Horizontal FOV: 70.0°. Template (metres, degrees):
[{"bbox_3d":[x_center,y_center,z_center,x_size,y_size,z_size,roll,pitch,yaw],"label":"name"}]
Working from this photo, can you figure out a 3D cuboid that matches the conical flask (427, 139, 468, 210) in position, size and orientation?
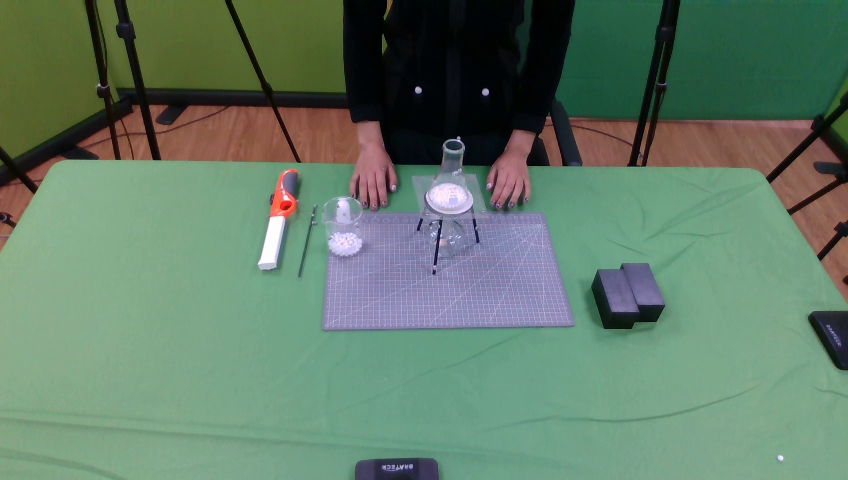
[{"bbox_3d":[0.046,-0.117,1.061,0.075,0.122,0.075,3,46,-2],"label":"conical flask"}]

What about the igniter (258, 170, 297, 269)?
[{"bbox_3d":[-0.294,-0.050,1.220,0.057,0.025,0.274,-5,45,4],"label":"igniter"}]

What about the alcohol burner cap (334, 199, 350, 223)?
[{"bbox_3d":[-0.168,-0.061,1.228,0.034,0.048,0.033,2,46,-2],"label":"alcohol burner cap"}]

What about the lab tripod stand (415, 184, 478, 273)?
[{"bbox_3d":[0.041,-0.031,1.152,0.148,0.132,0.147,3,44,-3],"label":"lab tripod stand"}]

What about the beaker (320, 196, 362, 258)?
[{"bbox_3d":[-0.156,-0.021,1.150,0.084,0.101,0.073,-30,55,-28],"label":"beaker"}]

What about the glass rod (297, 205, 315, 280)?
[{"bbox_3d":[-0.232,0.001,1.192,0.008,0.008,0.198,2,47,-1],"label":"glass rod"}]

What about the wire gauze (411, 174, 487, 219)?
[{"bbox_3d":[0.044,-0.079,1.107,0.125,0.011,0.120,-4,44,-6],"label":"wire gauze"}]

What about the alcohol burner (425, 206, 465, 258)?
[{"bbox_3d":[0.041,-0.023,1.158,0.078,0.119,0.077,3,47,-3],"label":"alcohol burner"}]
